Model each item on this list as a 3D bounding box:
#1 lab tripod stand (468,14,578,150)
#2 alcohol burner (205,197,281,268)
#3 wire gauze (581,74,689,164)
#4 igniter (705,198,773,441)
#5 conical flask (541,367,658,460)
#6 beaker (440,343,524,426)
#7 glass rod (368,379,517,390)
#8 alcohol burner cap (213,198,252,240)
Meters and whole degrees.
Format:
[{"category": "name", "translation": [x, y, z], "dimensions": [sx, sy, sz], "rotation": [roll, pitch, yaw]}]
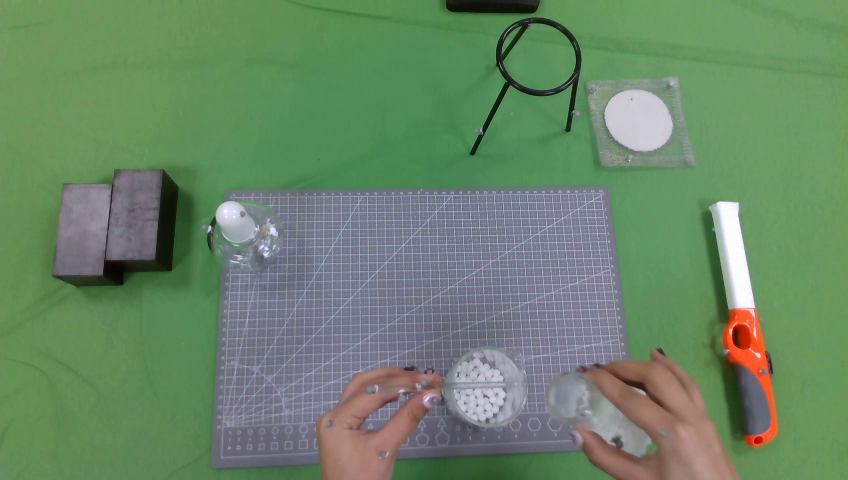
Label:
[{"category": "lab tripod stand", "translation": [0.110, -0.174, 0.685], "dimensions": [0.148, 0.132, 0.147], "rotation": [1, 77, -4]}, {"category": "alcohol burner", "translation": [-0.190, -0.012, 0.624], "dimensions": [0.078, 0.119, 0.077], "rotation": [1, 75, -2]}, {"category": "wire gauze", "translation": [0.265, -0.151, 0.757], "dimensions": [0.125, 0.011, 0.121], "rotation": [-2, 76, -7]}, {"category": "igniter", "translation": [0.359, 0.085, 0.693], "dimensions": [0.057, 0.025, 0.275], "rotation": [2, 75, -16]}, {"category": "conical flask", "translation": [0.133, 0.130, 0.480], "dimensions": [0.075, 0.123, 0.074], "rotation": [-16, 61, 30]}, {"category": "beaker", "translation": [0.057, 0.144, 0.612], "dimensions": [0.074, 0.100, 0.084], "rotation": [45, 76, 8]}, {"category": "glass rod", "translation": [0.025, 0.121, 0.509], "dimensions": [0.008, 0.201, 0.008], "rotation": [-10, 75, 39]}, {"category": "alcohol burner cap", "translation": [-0.188, -0.023, 0.589], "dimensions": [0.034, 0.048, 0.033], "rotation": [2, 68, -5]}]
